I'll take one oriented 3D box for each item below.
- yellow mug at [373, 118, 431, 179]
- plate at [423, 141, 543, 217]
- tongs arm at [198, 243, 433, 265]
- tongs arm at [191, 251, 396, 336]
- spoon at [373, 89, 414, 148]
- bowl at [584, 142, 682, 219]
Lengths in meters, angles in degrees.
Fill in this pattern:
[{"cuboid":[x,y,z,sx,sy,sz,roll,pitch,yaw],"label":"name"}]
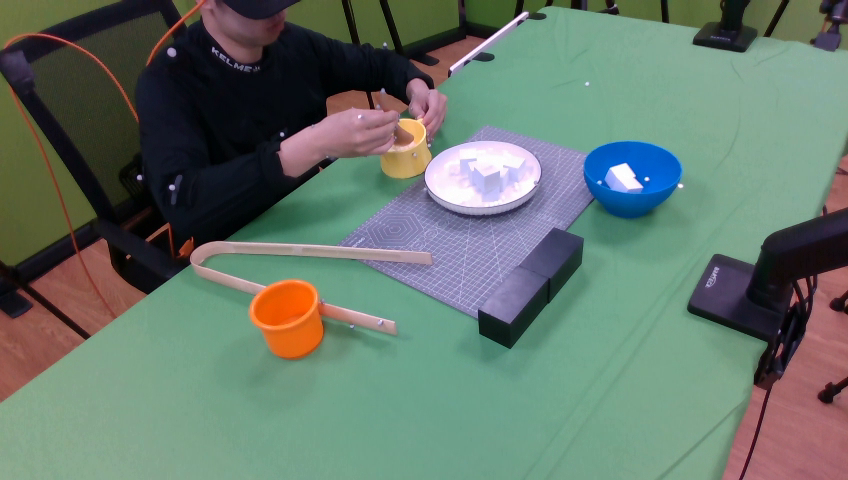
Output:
[{"cuboid":[-0.031,-0.182,1.141,0.099,0.064,0.131,24,56,29],"label":"yellow mug"},{"cuboid":[0.103,-0.104,1.059,0.207,0.039,0.206,-4,40,4],"label":"plate"},{"cuboid":[-0.177,0.024,0.960,0.386,0.028,0.028,2,45,12],"label":"tongs arm"},{"cuboid":[-0.204,0.075,0.902,0.382,0.026,0.051,10,44,22],"label":"tongs arm"},{"cuboid":[-0.055,-0.202,1.024,0.041,0.195,0.021,-20,66,7],"label":"spoon"},{"cuboid":[0.333,-0.087,0.980,0.151,0.077,0.150,-4,40,4],"label":"bowl"}]
